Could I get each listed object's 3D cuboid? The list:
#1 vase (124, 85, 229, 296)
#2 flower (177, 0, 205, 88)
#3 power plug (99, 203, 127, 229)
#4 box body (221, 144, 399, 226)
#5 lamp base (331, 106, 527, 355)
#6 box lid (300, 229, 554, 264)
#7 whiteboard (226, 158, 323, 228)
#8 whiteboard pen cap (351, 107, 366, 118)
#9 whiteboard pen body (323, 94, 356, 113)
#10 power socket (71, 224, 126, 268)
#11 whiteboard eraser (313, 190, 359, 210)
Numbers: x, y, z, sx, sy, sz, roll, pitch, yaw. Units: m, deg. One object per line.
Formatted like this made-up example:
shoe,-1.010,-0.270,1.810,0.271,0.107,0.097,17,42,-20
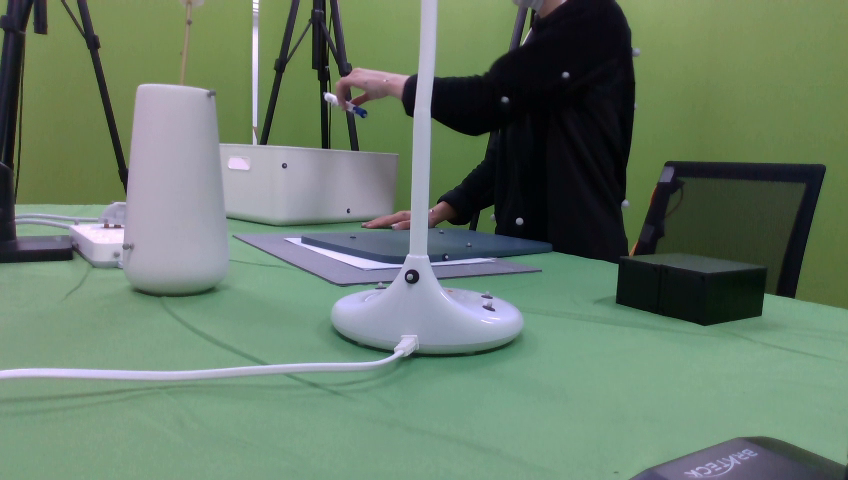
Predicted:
vase,-0.244,-0.047,0.598,0.098,0.200,0.098,3,8,0
flower,-0.243,-0.131,0.609,0.044,0.361,0.038,-5,-12,12
power plug,-0.415,-0.026,0.848,0.073,0.052,0.035,6,5,-28
box body,-0.264,-0.129,1.380,0.253,0.160,0.366,8,9,39
lamp base,0.006,-0.012,0.478,0.161,0.180,0.179,2,10,2
box lid,0.011,0.006,0.998,0.374,0.015,0.262,-3,9,-43
whiteboard,-0.276,-0.119,1.376,0.216,0.143,0.307,7,10,39
whiteboard pen cap,-0.129,-0.252,1.190,0.018,0.018,0.033,-4,26,-39
whiteboard pen body,-0.165,-0.275,1.230,0.017,0.017,0.140,-4,25,-40
power socket,-0.409,0.004,0.793,0.072,0.032,0.225,-2,8,-37
whiteboard eraser,-0.222,-0.100,1.517,0.112,0.042,0.056,9,19,34
